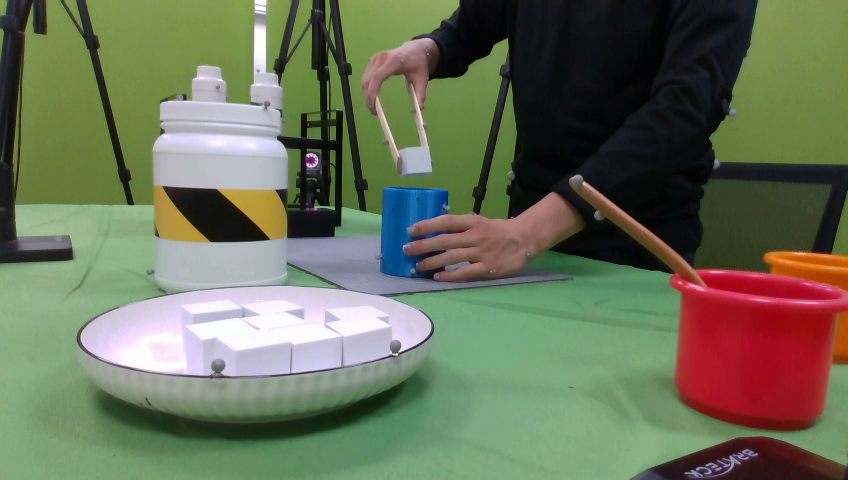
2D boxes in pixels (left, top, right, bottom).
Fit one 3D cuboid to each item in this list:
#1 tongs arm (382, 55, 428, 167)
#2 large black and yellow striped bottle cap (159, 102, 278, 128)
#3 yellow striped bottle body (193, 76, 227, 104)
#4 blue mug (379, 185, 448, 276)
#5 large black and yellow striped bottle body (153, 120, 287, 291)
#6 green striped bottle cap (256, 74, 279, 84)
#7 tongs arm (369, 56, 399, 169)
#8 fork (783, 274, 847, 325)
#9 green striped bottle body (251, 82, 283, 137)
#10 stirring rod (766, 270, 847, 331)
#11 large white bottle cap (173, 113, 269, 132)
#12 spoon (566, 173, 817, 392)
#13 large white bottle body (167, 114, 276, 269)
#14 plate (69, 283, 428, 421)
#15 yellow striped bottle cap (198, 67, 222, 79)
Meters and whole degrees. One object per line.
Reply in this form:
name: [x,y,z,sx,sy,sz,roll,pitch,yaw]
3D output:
tongs arm: [-0.035,-0.205,0.899,0.051,0.026,0.383,-4,34,-3]
large black and yellow striped bottle cap: [-0.207,-0.125,0.615,0.115,0.019,0.115,2,6,0]
yellow striped bottle body: [-0.414,-0.268,1.169,0.063,0.120,0.063,2,7,0]
blue mug: [-0.020,-0.016,0.763,0.083,0.106,0.116,-2,8,-27]
large black and yellow striped bottle body: [-0.208,-0.043,0.626,0.131,0.184,0.130,2,7,0]
green striped bottle cap: [-0.314,-0.321,1.214,0.044,0.020,0.044,2,9,0]
tongs arm: [-0.059,-0.203,0.896,0.028,0.028,0.386,-9,35,-4]
fork: [0.332,0.018,0.443,0.028,0.018,0.207,-1,-36,-15]
green striped bottle body: [-0.317,-0.270,1.220,0.063,0.119,0.063,2,7,0]
stirring rod: [0.352,0.020,0.484,0.176,0.006,0.014,-40,-7,13]
large white bottle cap: [-0.254,-0.146,0.760,0.115,0.018,0.115,1,7,0]
spoon: [0.161,0.024,0.370,0.193,0.021,0.042,47,18,3]
large white bottle body: [-0.256,-0.063,0.772,0.131,0.184,0.130,2,7,0]
plate: [-0.102,0.066,0.381,0.208,0.039,0.207,2,7,0]
yellow striped bottle cap: [-0.411,-0.320,1.163,0.044,0.018,0.044,1,7,0]
